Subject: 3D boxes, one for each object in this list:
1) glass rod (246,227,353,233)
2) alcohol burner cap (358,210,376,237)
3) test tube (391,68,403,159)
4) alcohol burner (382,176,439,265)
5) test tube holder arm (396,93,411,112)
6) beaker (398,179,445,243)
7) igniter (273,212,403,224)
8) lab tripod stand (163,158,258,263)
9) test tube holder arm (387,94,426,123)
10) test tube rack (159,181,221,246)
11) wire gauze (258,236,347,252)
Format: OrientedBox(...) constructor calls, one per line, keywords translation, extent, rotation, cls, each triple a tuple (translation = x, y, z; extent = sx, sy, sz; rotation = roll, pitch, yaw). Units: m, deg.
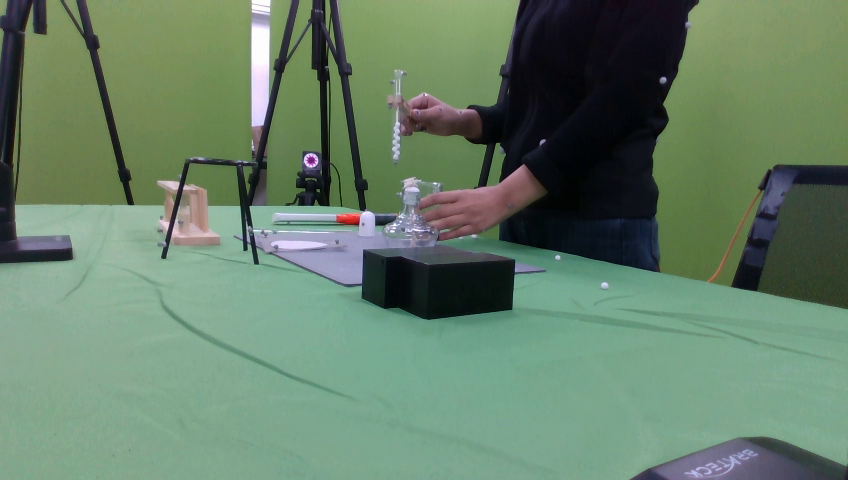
OrientedBox(translation=(-0.224, -0.017, 1.109), extent=(0.201, 0.008, 0.008), rotation=(1, 7, -27), cls="glass rod")
OrientedBox(translation=(-0.104, -0.030, 1.098), extent=(0.034, 0.048, 0.034), rotation=(2, 7, 0), cls="alcohol burner cap")
OrientedBox(translation=(-0.044, -0.209, 1.003), extent=(0.017, 0.150, 0.017), rotation=(1, -2, 0), cls="test tube")
OrientedBox(translation=(-0.018, -0.027, 0.818), extent=(0.078, 0.119, 0.078), rotation=(3, 10, 0), cls="alcohol burner")
OrientedBox(translation=(-0.034, -0.231, 1.025), extent=(0.010, 0.015, 0.088), rotation=(0, 0, 9), cls="test tube holder arm")
OrientedBox(translation=(-0.004, -0.047, 0.985), extent=(0.074, 0.100, 0.083), rotation=(-1, 7, -34), cls="beaker")
OrientedBox(translation=(-0.179, -0.048, 1.290), extent=(0.278, 0.025, 0.057), rotation=(-1, -2, -24), cls="igniter")
OrientedBox(translation=(-0.265, -0.041, 0.802), extent=(0.148, 0.131, 0.148), rotation=(4, 7, 0), cls="lab tripod stand")
OrientedBox(translation=(-0.028, -0.231, 1.070), extent=(0.013, 0.015, 0.179), rotation=(1, 0, 17), cls="test tube holder arm")
OrientedBox(translation=(-0.395, -0.050, 1.010), extent=(0.067, 0.085, 0.241), rotation=(-2, 8, -28), cls="test tube rack")
OrientedBox(translation=(-0.189, 0.005, 0.931), extent=(0.122, 0.011, 0.124), rotation=(1, 7, -21), cls="wire gauze")
